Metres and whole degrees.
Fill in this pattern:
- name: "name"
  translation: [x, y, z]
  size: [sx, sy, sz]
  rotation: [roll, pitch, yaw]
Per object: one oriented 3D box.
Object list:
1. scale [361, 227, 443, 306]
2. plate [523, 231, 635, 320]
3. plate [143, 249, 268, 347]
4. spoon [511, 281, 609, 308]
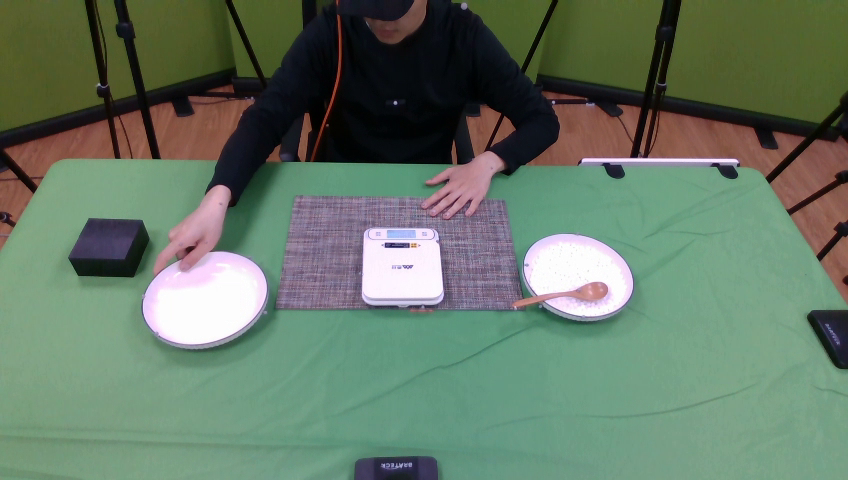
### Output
- name: "scale"
  translation: [-0.042, 0.040, 1.143]
  size: [0.149, 0.032, 0.199]
  rotation: [0, 46, -4]
- name: "plate"
  translation: [0.287, 0.069, 1.141]
  size: [0.209, 0.038, 0.208]
  rotation: [2, 46, -2]
- name: "plate"
  translation: [-0.377, 0.103, 1.060]
  size: [0.208, 0.039, 0.206]
  rotation: [2, 47, -2]
- name: "spoon"
  translation: [0.245, 0.098, 1.088]
  size: [0.194, 0.022, 0.041]
  rotation: [-5, 47, -19]
